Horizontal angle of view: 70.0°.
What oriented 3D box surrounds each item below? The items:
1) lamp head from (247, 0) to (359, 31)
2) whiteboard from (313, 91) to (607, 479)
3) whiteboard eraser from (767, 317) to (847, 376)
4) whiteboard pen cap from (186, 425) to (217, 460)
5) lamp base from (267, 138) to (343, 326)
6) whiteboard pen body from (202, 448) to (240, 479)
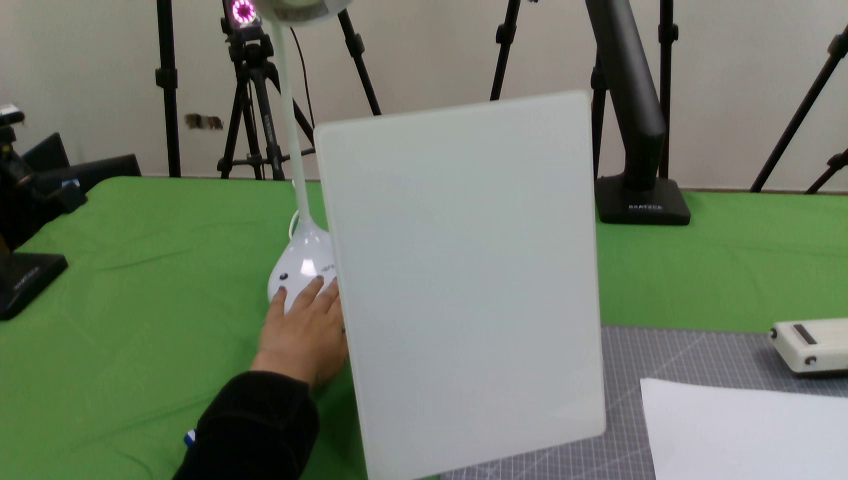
[{"bbox_3d":[-0.115,-0.254,0.507,0.112,0.113,0.122,-19,61,-24],"label":"lamp head"},{"bbox_3d":[0.030,0.032,0.555,0.217,0.307,0.143,-9,15,-9],"label":"whiteboard"},{"bbox_3d":[0.409,0.106,0.601,0.113,0.042,0.055,-3,34,0],"label":"whiteboard eraser"},{"bbox_3d":[-0.197,0.182,0.539,0.018,0.018,0.033,-28,47,-34],"label":"whiteboard pen cap"},{"bbox_3d":[-0.121,-0.019,0.704,0.161,0.182,0.177,-27,38,-32],"label":"lamp base"},{"bbox_3d":[-0.158,0.207,0.504,0.017,0.017,0.139,-28,44,-33],"label":"whiteboard pen body"}]
